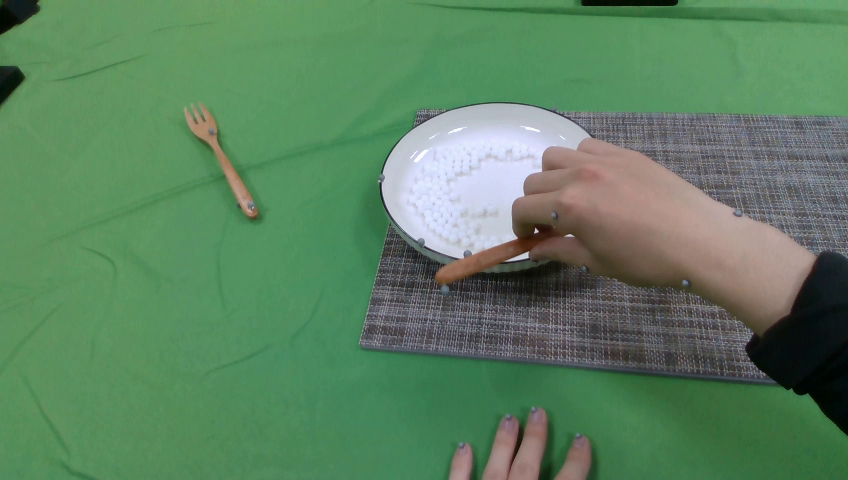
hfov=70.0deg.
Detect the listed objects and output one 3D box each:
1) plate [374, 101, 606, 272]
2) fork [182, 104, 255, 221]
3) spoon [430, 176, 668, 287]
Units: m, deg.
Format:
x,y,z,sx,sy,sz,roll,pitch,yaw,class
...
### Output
x,y,z,sx,sy,sz,roll,pitch,yaw,class
0.059,-0.050,0.559,0.207,0.039,0.205,-3,50,4,plate
-0.217,-0.086,0.638,0.028,0.019,0.205,-23,49,-20,fork
0.094,-0.005,0.445,0.194,0.021,0.041,-19,92,-15,spoon
